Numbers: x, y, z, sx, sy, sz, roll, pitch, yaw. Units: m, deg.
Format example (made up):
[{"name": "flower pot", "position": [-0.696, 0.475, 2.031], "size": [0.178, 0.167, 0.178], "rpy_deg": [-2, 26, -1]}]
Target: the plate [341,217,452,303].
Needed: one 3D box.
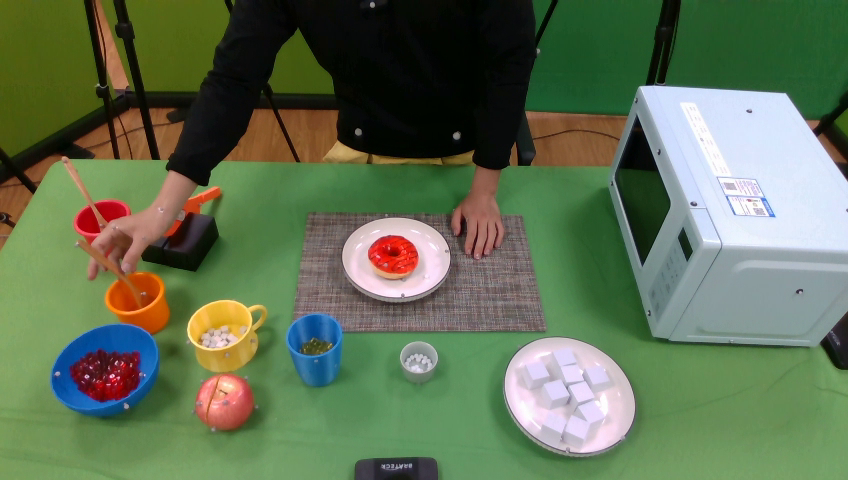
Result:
[{"name": "plate", "position": [-0.052, 0.039, 1.140], "size": [0.209, 0.038, 0.208], "rpy_deg": [2, 46, -2]}]

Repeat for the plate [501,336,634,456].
[{"name": "plate", "position": [0.224, 0.249, 0.964], "size": [0.208, 0.039, 0.206], "rpy_deg": [2, 46, -2]}]

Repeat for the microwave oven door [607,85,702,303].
[{"name": "microwave oven door", "position": [0.423, -0.094, 1.140], "size": [0.039, 0.245, 0.353], "rpy_deg": [2, 46, -1]}]

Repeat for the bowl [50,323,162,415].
[{"name": "bowl", "position": [-0.472, 0.209, 0.924], "size": [0.151, 0.077, 0.150], "rpy_deg": [3, 45, -2]}]

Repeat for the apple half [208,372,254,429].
[{"name": "apple half", "position": [-0.282, 0.244, 0.908], "size": [0.053, 0.075, 0.080], "rpy_deg": [7, 43, -1]}]

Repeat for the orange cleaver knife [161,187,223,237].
[{"name": "orange cleaver knife", "position": [-0.448, -0.058, 1.180], "size": [0.012, 0.077, 0.211], "rpy_deg": [13, 17, 6]}]

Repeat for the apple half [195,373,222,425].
[{"name": "apple half", "position": [-0.322, 0.240, 0.907], "size": [0.033, 0.081, 0.081], "rpy_deg": [6, 46, 1]}]

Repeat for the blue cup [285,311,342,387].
[{"name": "blue cup", "position": [-0.170, 0.180, 0.957], "size": [0.093, 0.101, 0.092], "rpy_deg": [2, 43, -1]}]

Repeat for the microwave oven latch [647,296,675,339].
[{"name": "microwave oven latch", "position": [0.413, 0.134, 1.061], "size": [0.030, 0.029, 0.078], "rpy_deg": [5, 45, 2]}]

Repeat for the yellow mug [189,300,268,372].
[{"name": "yellow mug", "position": [-0.315, 0.149, 1.001], "size": [0.131, 0.064, 0.099], "rpy_deg": [-33, 55, -31]}]

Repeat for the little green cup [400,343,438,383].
[{"name": "little green cup", "position": [-0.010, 0.202, 0.991], "size": [0.061, 0.039, 0.061], "rpy_deg": [2, 46, -2]}]

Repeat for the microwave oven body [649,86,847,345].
[{"name": "microwave oven body", "position": [0.568, -0.053, 1.118], "size": [0.326, 0.261, 0.439], "rpy_deg": [2, 45, -1]}]

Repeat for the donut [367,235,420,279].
[{"name": "donut", "position": [-0.057, 0.032, 1.132], "size": [0.099, 0.048, 0.098], "rpy_deg": [3, 45, -3]}]

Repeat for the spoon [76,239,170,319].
[{"name": "spoon", "position": [-0.487, 0.064, 0.989], "size": [0.021, 0.195, 0.041], "rpy_deg": [-15, 39, 21]}]

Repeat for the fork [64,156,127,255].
[{"name": "fork", "position": [-0.614, -0.064, 1.129], "size": [0.028, 0.018, 0.207], "rpy_deg": [-30, 97, -15]}]
